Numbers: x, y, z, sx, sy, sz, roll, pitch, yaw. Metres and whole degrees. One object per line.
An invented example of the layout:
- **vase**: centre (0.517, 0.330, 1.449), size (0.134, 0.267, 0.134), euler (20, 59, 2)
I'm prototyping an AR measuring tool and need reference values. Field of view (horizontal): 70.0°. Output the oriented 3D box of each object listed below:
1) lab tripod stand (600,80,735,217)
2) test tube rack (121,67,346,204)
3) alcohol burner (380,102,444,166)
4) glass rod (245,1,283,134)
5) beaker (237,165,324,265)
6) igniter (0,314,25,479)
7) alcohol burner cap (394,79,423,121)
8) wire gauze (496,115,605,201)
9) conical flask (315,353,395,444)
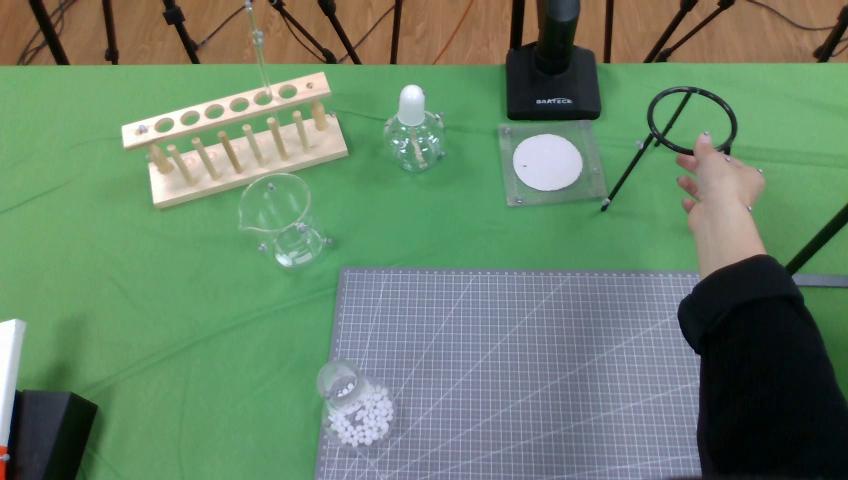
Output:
- **lab tripod stand**: centre (0.277, -0.097, 0.671), size (0.148, 0.132, 0.147), euler (0, 61, 1)
- **test tube rack**: centre (-0.226, -0.126, 0.738), size (0.242, 0.086, 0.066), euler (-17, 62, -7)
- **alcohol burner**: centre (-0.015, -0.144, 0.722), size (0.078, 0.120, 0.077), euler (-1, 59, 1)
- **glass rod**: centre (-0.180, -0.188, 0.694), size (0.008, 0.201, 0.008), euler (1, 60, -2)
- **beaker**: centre (-0.156, -0.021, 0.670), size (0.084, 0.101, 0.073), euler (-38, 66, -16)
- **igniter**: centre (-0.401, 0.198, 0.551), size (0.057, 0.025, 0.274), euler (-16, 61, 7)
- **alcohol burner cap**: centre (-0.016, -0.163, 0.691), size (0.034, 0.048, 0.033), euler (3, 61, -5)
- **wire gauze**: centre (0.155, -0.106, 0.752), size (0.121, 0.011, 0.124), euler (-3, 61, 0)
- **conical flask**: centre (-0.070, 0.141, 0.562), size (0.075, 0.123, 0.074), euler (-1, 61, 3)
